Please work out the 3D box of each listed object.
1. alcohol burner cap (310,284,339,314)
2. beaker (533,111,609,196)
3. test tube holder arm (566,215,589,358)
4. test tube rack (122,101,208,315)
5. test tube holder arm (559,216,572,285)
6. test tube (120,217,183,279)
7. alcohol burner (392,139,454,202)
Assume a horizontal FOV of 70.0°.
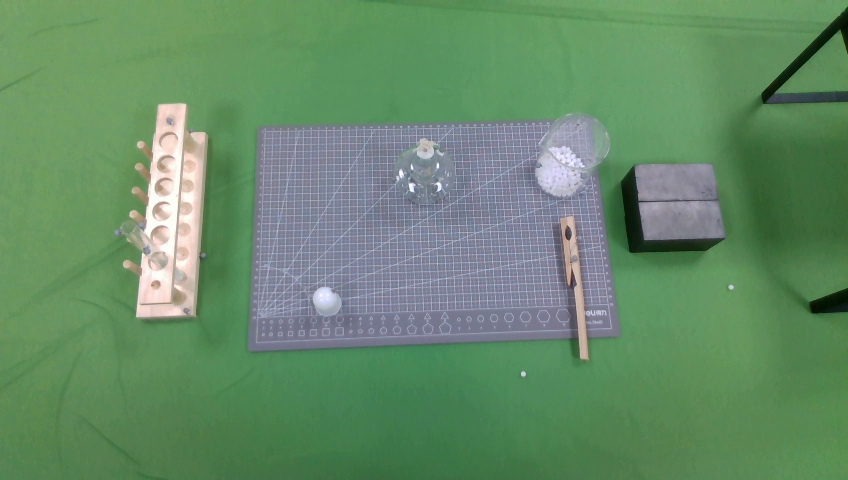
[{"bbox_3d":[-0.120,0.068,0.720,0.034,0.048,0.033,1,72,-3],"label":"alcohol burner cap"},{"bbox_3d":[0.176,-0.103,0.755,0.084,0.101,0.073,-3,72,-2],"label":"beaker"},{"bbox_3d":[0.188,0.055,0.748,0.013,0.015,0.177,-12,73,26],"label":"test tube holder arm"},{"bbox_3d":[-0.313,-0.038,0.726,0.067,0.085,0.241,-2,73,-2],"label":"test tube rack"},{"bbox_3d":[0.180,0.013,0.762,0.010,0.015,0.087,-11,73,27],"label":"test tube holder arm"},{"bbox_3d":[-0.293,0.012,0.660,0.017,0.151,0.017,1,67,-2],"label":"test tube"},{"bbox_3d":[-0.001,-0.091,0.737,0.078,0.120,0.077,0,73,0],"label":"alcohol burner"}]
